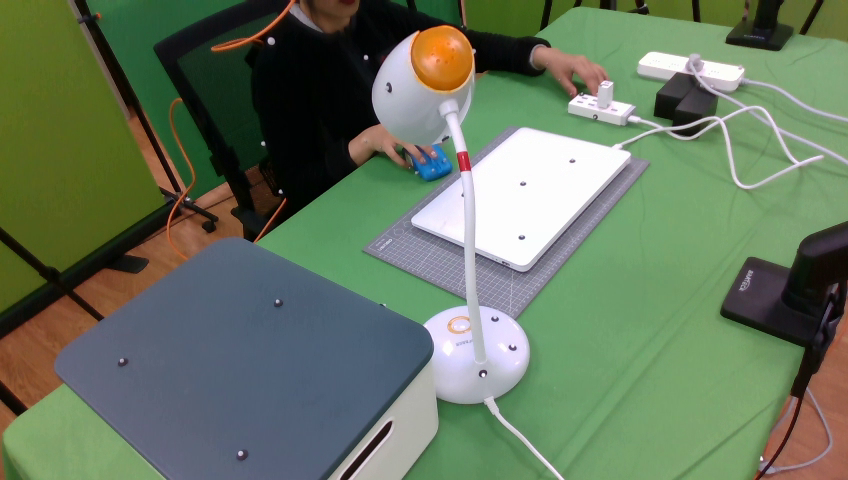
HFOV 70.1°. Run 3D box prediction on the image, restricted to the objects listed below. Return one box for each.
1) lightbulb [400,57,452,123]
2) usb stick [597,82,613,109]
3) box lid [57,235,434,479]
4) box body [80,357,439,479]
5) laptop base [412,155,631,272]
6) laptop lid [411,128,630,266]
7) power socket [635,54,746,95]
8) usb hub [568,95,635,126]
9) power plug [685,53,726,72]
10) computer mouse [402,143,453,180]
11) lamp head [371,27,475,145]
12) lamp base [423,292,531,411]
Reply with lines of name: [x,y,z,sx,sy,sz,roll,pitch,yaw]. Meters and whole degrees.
lightbulb: [0.003,-0.169,0.668,0.059,0.108,0.059,1,79,-2]
usb stick: [0.360,-0.281,1.204,0.021,0.059,0.027,23,49,33]
box lid: [-0.198,0.123,0.653,0.368,0.015,0.264,22,49,32]
box body: [-0.189,0.178,0.702,0.361,0.161,0.255,22,49,32]
laptop base: [0.176,-0.084,1.055,0.233,0.023,0.355,21,48,36]
laptop lid: [0.172,-0.093,1.049,0.239,0.013,0.358,24,50,36]
power socket: [0.564,-0.357,1.293,0.225,0.033,0.072,24,51,33]
usb hub: [0.360,-0.263,1.228,0.124,0.025,0.049,24,49,34]
power plug: [0.584,-0.361,1.261,0.072,0.053,0.035,14,55,16]
computer mouse: [0.006,-0.159,1.165,0.063,0.041,0.116,-21,45,-17]
lamp head: [0.007,-0.167,0.644,0.113,0.112,0.122,-22,2,-14]
lamp base: [0.054,0.095,0.740,0.161,0.181,0.177,-19,43,-11]
